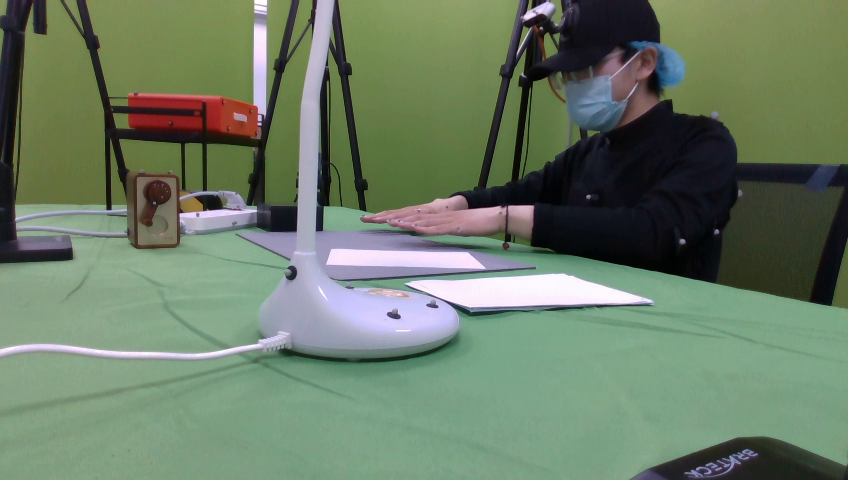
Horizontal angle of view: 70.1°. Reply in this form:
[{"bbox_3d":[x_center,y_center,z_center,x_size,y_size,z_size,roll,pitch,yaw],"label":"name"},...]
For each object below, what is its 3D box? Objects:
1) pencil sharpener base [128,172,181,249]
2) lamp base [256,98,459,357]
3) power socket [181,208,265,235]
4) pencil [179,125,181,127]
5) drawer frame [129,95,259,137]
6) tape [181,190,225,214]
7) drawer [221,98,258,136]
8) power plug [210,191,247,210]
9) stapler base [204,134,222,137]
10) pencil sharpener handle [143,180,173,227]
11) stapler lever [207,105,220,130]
[{"bbox_3d":[-0.395,-0.044,0.887,0.062,0.107,0.076,-2,9,-34],"label":"pencil sharpener base"},{"bbox_3d":[-0.055,-0.013,0.463,0.160,0.180,0.180,6,11,27],"label":"lamp base"},{"bbox_3d":[-0.381,-0.038,1.129,0.072,0.032,0.227,4,8,17],"label":"power socket"},{"bbox_3d":[-0.550,-0.256,1.368,0.012,0.012,0.193,-1,10,-20],"label":"pencil"},{"bbox_3d":[-0.515,-0.281,1.380,0.213,0.082,0.202,3,8,6],"label":"drawer frame"},{"bbox_3d":[-0.515,-0.087,1.388,0.117,0.052,0.117,3,7,0],"label":"tape"},{"bbox_3d":[-0.513,-0.280,1.382,0.212,0.073,0.194,3,8,7],"label":"drawer"},{"bbox_3d":[-0.386,-0.071,1.204,0.072,0.052,0.035,6,8,26],"label":"power plug"},{"bbox_3d":[-0.483,-0.256,1.387,0.041,0.024,0.130,4,-1,-19],"label":"stapler base"},{"bbox_3d":[-0.371,-0.050,0.840,0.036,0.067,0.030,24,-5,-34],"label":"pencil sharpener handle"},{"bbox_3d":[-0.483,-0.281,1.388,0.027,0.040,0.117,4,-1,-19],"label":"stapler lever"}]
